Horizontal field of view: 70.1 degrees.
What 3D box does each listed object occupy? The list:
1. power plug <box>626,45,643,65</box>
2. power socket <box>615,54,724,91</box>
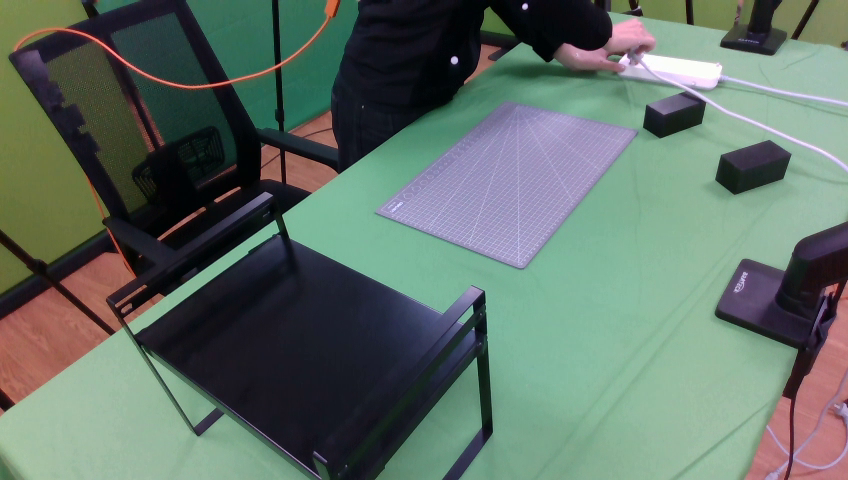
[{"bbox_3d":[0.448,-0.394,1.313,0.035,0.053,0.073,28,51,35],"label":"power plug"},{"bbox_3d":[0.530,-0.367,1.316,0.225,0.033,0.072,19,48,27],"label":"power socket"}]
